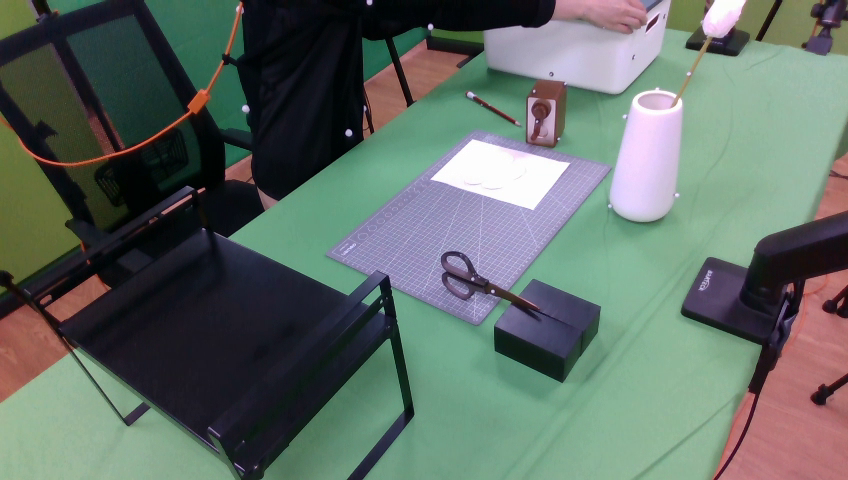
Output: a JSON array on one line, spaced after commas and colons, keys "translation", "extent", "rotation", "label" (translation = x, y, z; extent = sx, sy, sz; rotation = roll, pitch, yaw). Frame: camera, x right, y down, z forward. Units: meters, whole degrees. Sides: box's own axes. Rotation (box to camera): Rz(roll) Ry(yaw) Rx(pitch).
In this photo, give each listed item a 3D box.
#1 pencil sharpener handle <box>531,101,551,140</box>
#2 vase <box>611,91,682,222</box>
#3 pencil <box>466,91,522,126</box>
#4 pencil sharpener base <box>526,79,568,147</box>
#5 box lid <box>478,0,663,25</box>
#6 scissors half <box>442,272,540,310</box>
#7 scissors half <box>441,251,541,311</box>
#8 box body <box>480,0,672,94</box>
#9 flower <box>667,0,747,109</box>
[{"translation": [0.211, -0.220, 1.118], "extent": [0.036, 0.068, 0.030], "rotation": [17, 46, 17], "label": "pencil sharpener handle"}, {"translation": [0.348, -0.125, 0.935], "extent": [0.098, 0.201, 0.097], "rotation": [-3, 40, 3], "label": "vase"}, {"translation": [0.148, -0.282, 1.295], "extent": [0.012, 0.012, 0.192], "rotation": [-26, 45, -21], "label": "pencil"}, {"translation": [0.234, -0.242, 1.160], "extent": [0.061, 0.107, 0.077], "rotation": [12, 45, 21], "label": "pencil sharpener base"}, {"translation": [0.332, -0.537, 1.320], "extent": [0.368, 0.015, 0.264], "rotation": [22, 48, 32], "label": "box lid"}, {"translation": [0.089, 0.074, 0.832], "extent": [0.013, 0.040, 0.173], "rotation": [-24, 23, -38], "label": "scissors half"}, {"translation": [0.087, 0.056, 0.824], "extent": [0.173, 0.040, 0.013], "rotation": [29, 44, 36], "label": "scissors half"}, {"translation": [0.341, -0.480, 1.381], "extent": [0.361, 0.161, 0.255], "rotation": [22, 48, 30], "label": "box body"}, {"translation": [0.354, -0.187, 0.879], "extent": [0.038, 0.362, 0.044], "rotation": [30, 48, 14], "label": "flower"}]
